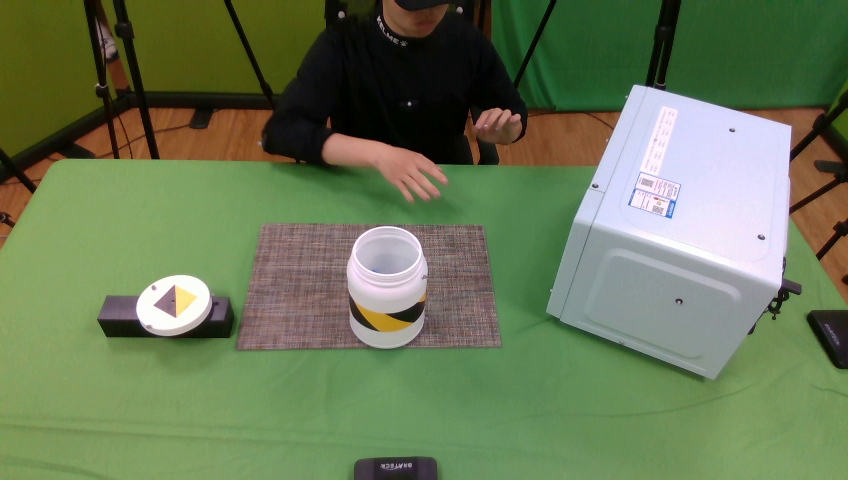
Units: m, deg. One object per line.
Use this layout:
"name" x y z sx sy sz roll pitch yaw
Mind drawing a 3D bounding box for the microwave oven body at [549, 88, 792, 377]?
"microwave oven body" 0.456 -0.028 1.088 0.325 0.261 0.440 20 47 16

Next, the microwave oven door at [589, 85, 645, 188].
"microwave oven door" 0.342 -0.107 1.149 0.039 0.245 0.354 20 48 15

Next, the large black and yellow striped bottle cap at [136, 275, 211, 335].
"large black and yellow striped bottle cap" -0.412 0.105 0.999 0.115 0.019 0.114 3 46 -3

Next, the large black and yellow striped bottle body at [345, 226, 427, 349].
"large black and yellow striped bottle body" -0.062 0.078 0.998 0.131 0.185 0.130 2 46 -2

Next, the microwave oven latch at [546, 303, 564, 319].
"microwave oven latch" 0.242 0.102 1.081 0.030 0.029 0.079 21 48 17
